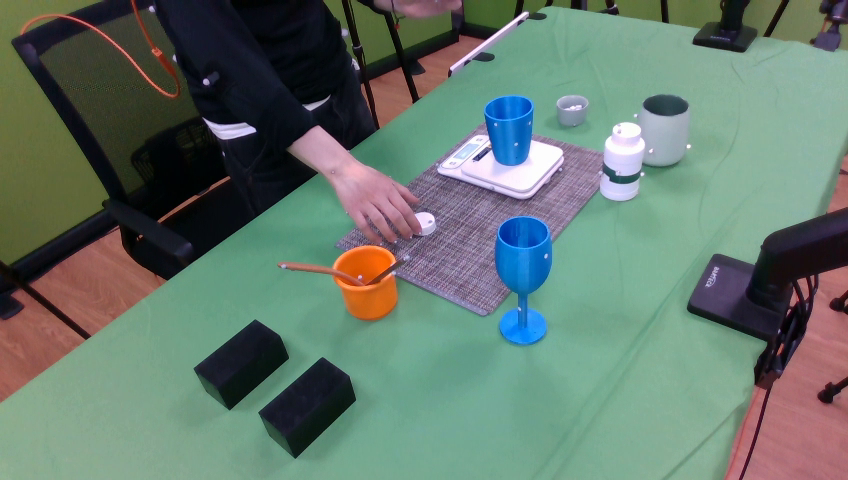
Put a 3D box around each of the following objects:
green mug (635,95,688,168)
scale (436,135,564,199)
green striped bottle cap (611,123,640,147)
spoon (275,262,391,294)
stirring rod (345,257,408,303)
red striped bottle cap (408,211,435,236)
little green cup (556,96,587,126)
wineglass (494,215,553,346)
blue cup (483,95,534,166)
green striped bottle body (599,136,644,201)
[{"bbox_3d":[0.421,-0.201,1.081,0.092,0.105,0.125,5,42,15],"label":"green mug"},{"bbox_3d":[0.137,-0.142,1.101,0.199,0.032,0.149,22,48,30],"label":"scale"},{"bbox_3d":[0.322,-0.168,0.963,0.044,0.020,0.044,-3,42,3],"label":"green striped bottle cap"},{"bbox_3d":[-0.120,0.050,0.830,0.041,0.195,0.021,31,97,45],"label":"spoon"},{"bbox_3d":[-0.067,0.057,0.815,0.014,0.175,0.006,-24,82,-38],"label":"stirring rod"},{"bbox_3d":[-0.004,-0.028,0.999,0.044,0.018,0.044,-5,47,5],"label":"red striped bottle cap"},{"bbox_3d":[0.295,-0.258,1.214,0.061,0.039,0.061,-4,42,4],"label":"little green cup"},{"bbox_3d":[0.127,0.055,0.770,0.074,0.173,0.073,-4,40,4],"label":"wineglass"},{"bbox_3d":[0.150,-0.187,1.051,0.092,0.101,0.092,-6,41,6],"label":"blue cup"},{"bbox_3d":[0.326,-0.128,0.997,0.063,0.120,0.063,-4,41,4],"label":"green striped bottle body"}]
